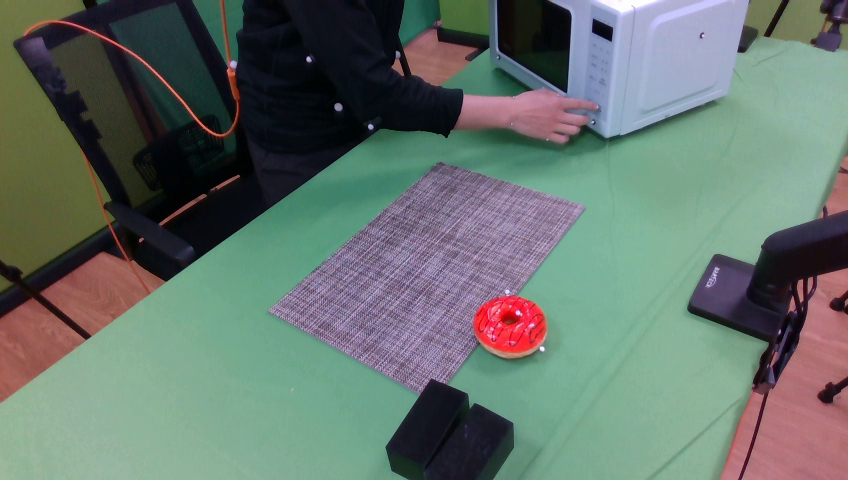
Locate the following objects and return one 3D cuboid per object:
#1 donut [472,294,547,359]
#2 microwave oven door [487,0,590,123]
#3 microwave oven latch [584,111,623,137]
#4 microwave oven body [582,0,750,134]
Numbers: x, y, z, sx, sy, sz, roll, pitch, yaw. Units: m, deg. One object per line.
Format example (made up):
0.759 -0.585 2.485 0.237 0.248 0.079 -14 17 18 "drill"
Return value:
0.114 0.114 0.803 0.099 0.048 0.098 0 40 1 "donut"
0.232 -0.420 1.231 0.039 0.245 0.352 -22 43 -16 "microwave oven door"
0.337 -0.222 1.142 0.030 0.029 0.078 -21 42 -14 "microwave oven latch"
0.382 -0.444 1.246 0.327 0.261 0.437 -22 42 -16 "microwave oven body"
